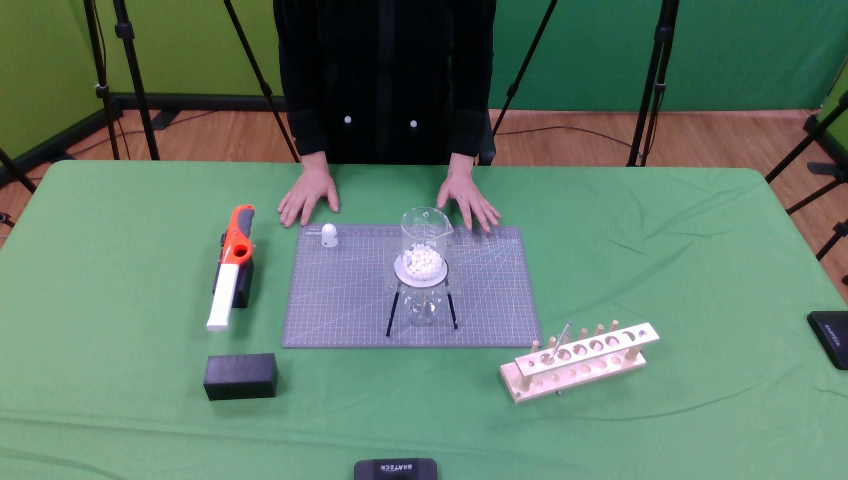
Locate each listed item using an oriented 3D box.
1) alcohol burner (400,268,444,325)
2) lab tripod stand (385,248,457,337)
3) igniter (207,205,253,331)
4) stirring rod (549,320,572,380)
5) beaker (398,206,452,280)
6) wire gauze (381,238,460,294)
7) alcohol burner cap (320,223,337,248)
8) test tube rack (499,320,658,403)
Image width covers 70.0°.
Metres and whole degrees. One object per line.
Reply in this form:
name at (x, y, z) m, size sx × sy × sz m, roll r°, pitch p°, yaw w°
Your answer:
alcohol burner at (-0.003, 0.092, 1.042) m, size 0.078 × 0.120 × 0.077 m, roll 1°, pitch 46°, yaw -1°
lab tripod stand at (-0.010, 0.087, 1.032) m, size 0.148 × 0.132 × 0.147 m, roll 1°, pitch 45°, yaw -1°
igniter at (-0.339, 0.038, 1.066) m, size 0.057 × 0.025 × 0.274 m, roll 2°, pitch 48°, yaw -6°
stirring rod at (0.201, 0.167, 0.901) m, size 0.006 × 0.177 × 0.014 m, roll -16°, pitch 54°, yaw -10°
beaker at (0.000, 0.008, 0.950) m, size 0.084 × 0.101 × 0.073 m, roll 10°, pitch 45°, yaw 6°
wire gauze at (-0.008, 0.042, 0.985) m, size 0.125 × 0.011 × 0.120 m, roll -1°, pitch 43°, yaw -2°
alcohol burner cap at (-0.187, -0.011, 1.176) m, size 0.034 × 0.048 × 0.033 m, roll 2°, pitch 46°, yaw -2°
test tube rack at (0.252, 0.187, 0.994) m, size 0.243 × 0.085 × 0.066 m, roll -12°, pitch 48°, yaw -15°
